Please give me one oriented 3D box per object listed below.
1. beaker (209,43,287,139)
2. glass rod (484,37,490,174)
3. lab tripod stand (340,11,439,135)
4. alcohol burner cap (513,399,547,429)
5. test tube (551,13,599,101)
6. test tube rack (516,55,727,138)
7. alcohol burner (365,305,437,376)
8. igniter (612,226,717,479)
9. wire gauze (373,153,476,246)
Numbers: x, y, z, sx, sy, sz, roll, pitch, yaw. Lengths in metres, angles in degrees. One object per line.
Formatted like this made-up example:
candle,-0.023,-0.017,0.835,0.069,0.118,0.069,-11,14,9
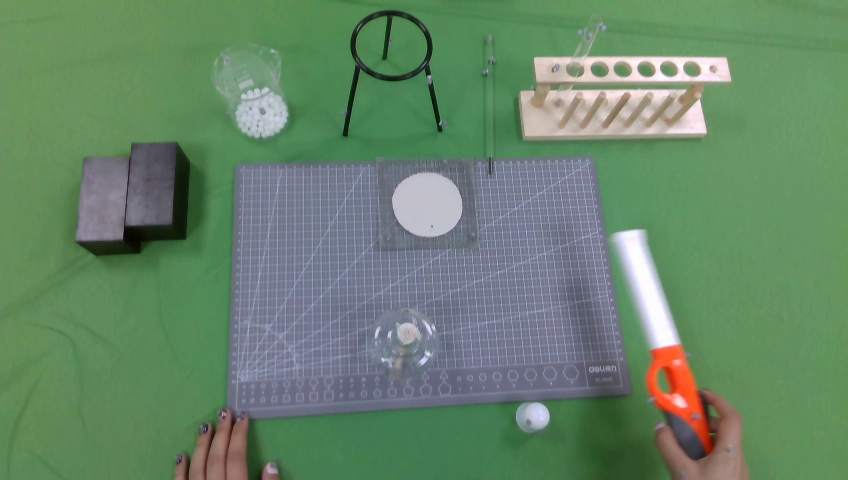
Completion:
beaker,-0.201,-0.173,0.717,0.084,0.100,0.073,-41,80,-16
glass rod,0.082,-0.178,0.790,0.008,0.008,0.198,3,74,-4
lab tripod stand,-0.045,-0.197,0.721,0.148,0.132,0.147,1,71,-3
alcohol burner cap,0.119,0.189,0.662,0.034,0.048,0.033,1,71,-4
test tube,0.176,-0.211,0.718,0.017,0.151,0.017,1,69,-3
test tube rack,0.246,-0.180,0.766,0.243,0.085,0.066,-2,72,-5
alcohol burner,-0.023,0.102,0.636,0.078,0.119,0.077,2,70,-6
igniter,0.248,0.118,0.629,0.057,0.025,0.275,-8,74,-12
wire gauze,0.000,-0.050,0.742,0.125,0.011,0.120,-1,72,-4
